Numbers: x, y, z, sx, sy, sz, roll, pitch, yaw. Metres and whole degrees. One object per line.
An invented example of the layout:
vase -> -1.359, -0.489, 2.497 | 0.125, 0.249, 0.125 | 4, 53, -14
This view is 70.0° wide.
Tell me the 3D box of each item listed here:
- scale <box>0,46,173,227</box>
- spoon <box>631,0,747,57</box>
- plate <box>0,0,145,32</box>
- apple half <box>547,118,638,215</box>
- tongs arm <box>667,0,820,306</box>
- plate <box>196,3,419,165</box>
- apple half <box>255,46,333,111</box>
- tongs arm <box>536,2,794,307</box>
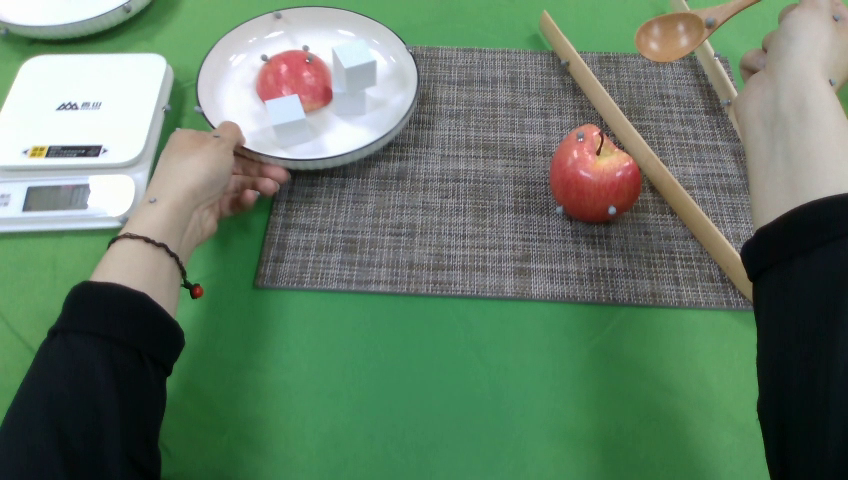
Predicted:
scale -> -0.325, -0.104, 0.570 | 0.149, 0.032, 0.199 | -2, 59, -1
spoon -> 0.254, -0.188, 0.457 | 0.193, 0.022, 0.041 | -20, 72, 20
plate -> -0.394, -0.304, 0.688 | 0.208, 0.039, 0.205 | 0, 59, 0
apple half -> 0.135, -0.056, 0.517 | 0.053, 0.075, 0.080 | -32, 67, -14
tongs arm -> 0.283, -0.117, 0.580 | 0.051, 0.027, 0.381 | -7, 60, -6
plate -> -0.109, -0.149, 0.587 | 0.209, 0.038, 0.207 | 2, 58, -2
apple half -> -0.126, -0.164, 0.589 | 0.081, 0.033, 0.080 | 1, 55, -1
tongs arm -> 0.202, -0.099, 0.570 | 0.028, 0.028, 0.383 | -18, 61, -16
